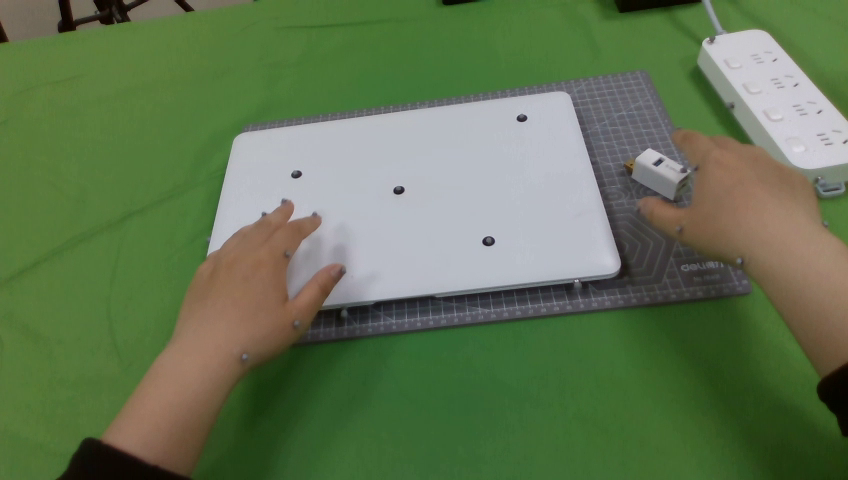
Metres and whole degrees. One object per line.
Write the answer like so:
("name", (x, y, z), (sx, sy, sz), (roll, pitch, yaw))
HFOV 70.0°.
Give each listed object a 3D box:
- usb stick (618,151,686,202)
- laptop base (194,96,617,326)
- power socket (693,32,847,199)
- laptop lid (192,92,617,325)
("usb stick", (0.202, -0.060, 0.543), (0.021, 0.027, 0.058), (-36, 50, -22))
("laptop base", (-0.023, -0.034, 0.567), (0.354, 0.023, 0.233), (-7, 52, 4))
("power socket", (0.331, -0.129, 0.580), (0.072, 0.033, 0.224), (-9, 49, 1))
("laptop lid", (-0.025, -0.041, 0.557), (0.356, 0.013, 0.239), (-6, 51, 5))
